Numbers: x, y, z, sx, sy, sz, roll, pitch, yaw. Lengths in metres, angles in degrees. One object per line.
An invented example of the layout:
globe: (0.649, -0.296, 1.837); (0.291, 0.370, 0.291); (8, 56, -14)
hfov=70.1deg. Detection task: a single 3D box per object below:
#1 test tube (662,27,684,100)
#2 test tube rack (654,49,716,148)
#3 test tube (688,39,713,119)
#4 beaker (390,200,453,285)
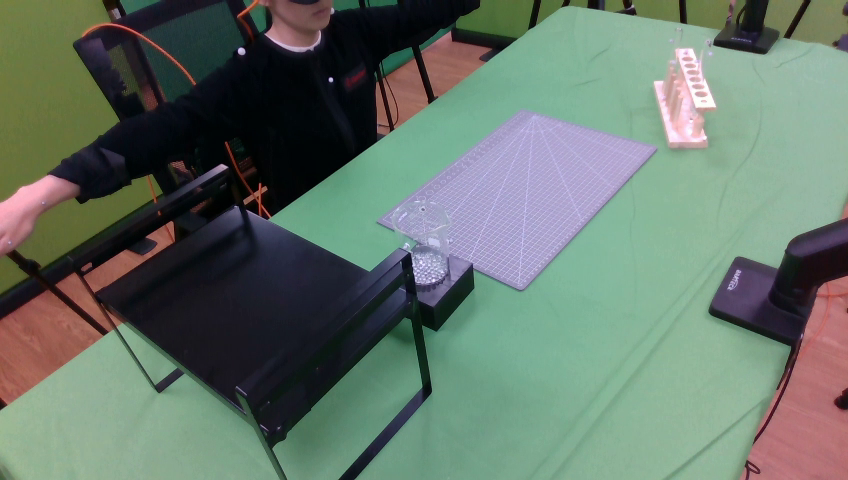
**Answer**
test tube: (0.486, -0.342, 1.181); (0.017, 0.151, 0.017); (-3, 42, 4)
test tube rack: (0.502, -0.281, 1.176); (0.066, 0.085, 0.241); (2, 41, 11)
test tube: (0.507, -0.292, 1.111); (0.017, 0.151, 0.017); (-3, 37, 3)
beaker: (0.002, 0.006, 0.831); (0.084, 0.101, 0.074); (5, 42, 13)
